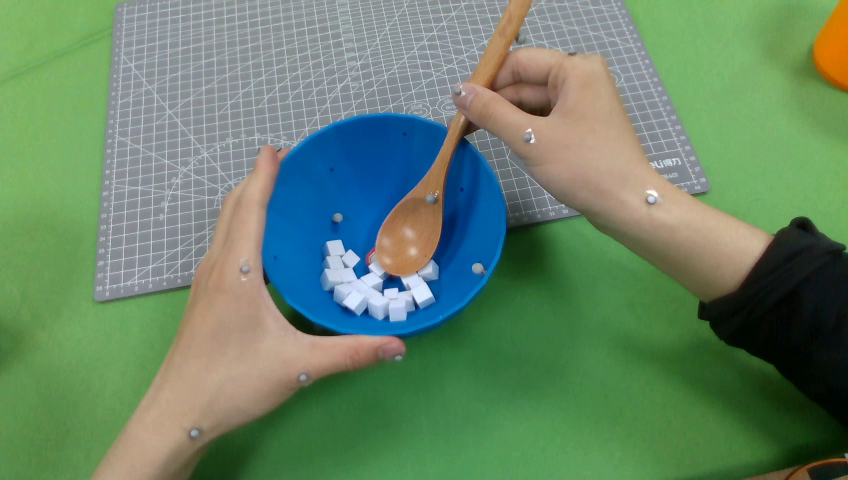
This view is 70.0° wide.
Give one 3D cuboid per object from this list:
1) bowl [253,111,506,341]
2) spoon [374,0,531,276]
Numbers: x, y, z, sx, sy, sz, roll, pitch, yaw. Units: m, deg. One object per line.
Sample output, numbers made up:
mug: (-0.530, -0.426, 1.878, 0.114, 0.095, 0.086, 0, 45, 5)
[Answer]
bowl: (-0.026, 0.001, 0.394, 0.151, 0.077, 0.150, 0, 66, 1)
spoon: (0.019, -0.063, 0.374, 0.041, 0.022, 0.194, 32, 109, 18)
